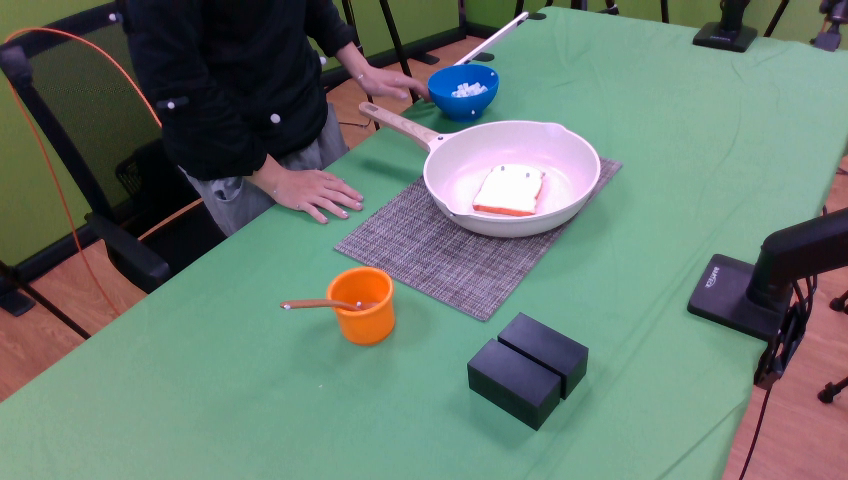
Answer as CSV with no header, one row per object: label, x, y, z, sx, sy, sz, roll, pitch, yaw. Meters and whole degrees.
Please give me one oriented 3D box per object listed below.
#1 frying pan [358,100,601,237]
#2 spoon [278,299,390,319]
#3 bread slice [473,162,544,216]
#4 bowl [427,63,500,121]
frying pan,0.067,-0.153,1.067,0.484,0.103,0.308,32,52,26
spoon,-0.113,0.086,0.787,0.041,0.021,0.195,30,8,36
bread slice,0.150,-0.089,1.041,0.106,0.018,0.134,7,45,16
bowl,0.084,-0.301,1.263,0.151,0.077,0.150,-4,41,4
